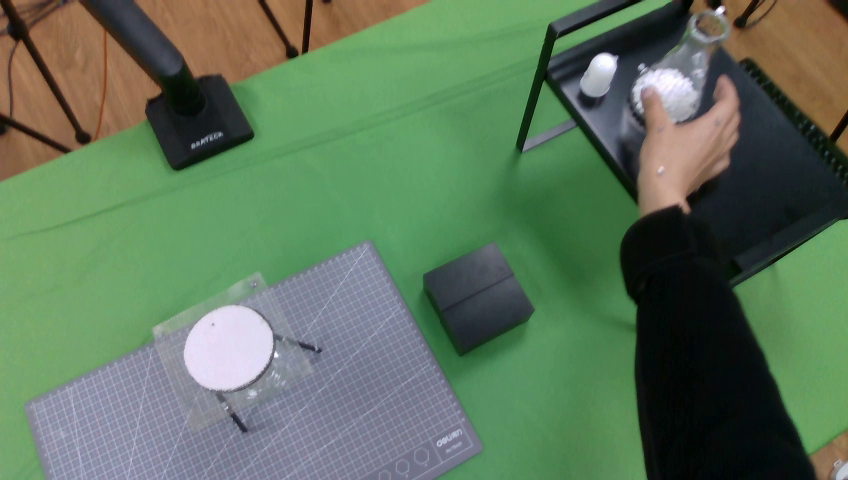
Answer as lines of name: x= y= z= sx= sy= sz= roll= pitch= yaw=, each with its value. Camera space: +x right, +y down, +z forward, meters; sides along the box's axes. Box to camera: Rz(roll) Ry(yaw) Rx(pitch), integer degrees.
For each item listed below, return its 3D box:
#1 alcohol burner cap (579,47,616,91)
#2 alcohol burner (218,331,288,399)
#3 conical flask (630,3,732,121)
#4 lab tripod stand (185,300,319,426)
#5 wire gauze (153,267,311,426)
alcohol burner cap: x=0.190 y=-0.188 z=0.654 sx=0.034 sy=0.048 sz=0.033 roll=1 pitch=69 yaw=-2
alcohol burner: x=-0.194 y=0.136 z=0.673 sx=0.078 sy=0.120 sz=0.077 roll=0 pitch=70 yaw=0
conical flask: x=0.263 y=-0.181 z=0.611 sx=0.075 sy=0.122 sz=0.075 roll=0 pitch=69 yaw=-1
lab tripod stand: x=-0.199 y=0.125 z=0.667 sx=0.148 sy=0.132 sz=0.147 roll=0 pitch=70 yaw=1
wire gauze: x=-0.194 y=0.103 z=0.603 sx=0.125 sy=0.011 sz=0.120 roll=-27 pitch=71 yaw=-10
